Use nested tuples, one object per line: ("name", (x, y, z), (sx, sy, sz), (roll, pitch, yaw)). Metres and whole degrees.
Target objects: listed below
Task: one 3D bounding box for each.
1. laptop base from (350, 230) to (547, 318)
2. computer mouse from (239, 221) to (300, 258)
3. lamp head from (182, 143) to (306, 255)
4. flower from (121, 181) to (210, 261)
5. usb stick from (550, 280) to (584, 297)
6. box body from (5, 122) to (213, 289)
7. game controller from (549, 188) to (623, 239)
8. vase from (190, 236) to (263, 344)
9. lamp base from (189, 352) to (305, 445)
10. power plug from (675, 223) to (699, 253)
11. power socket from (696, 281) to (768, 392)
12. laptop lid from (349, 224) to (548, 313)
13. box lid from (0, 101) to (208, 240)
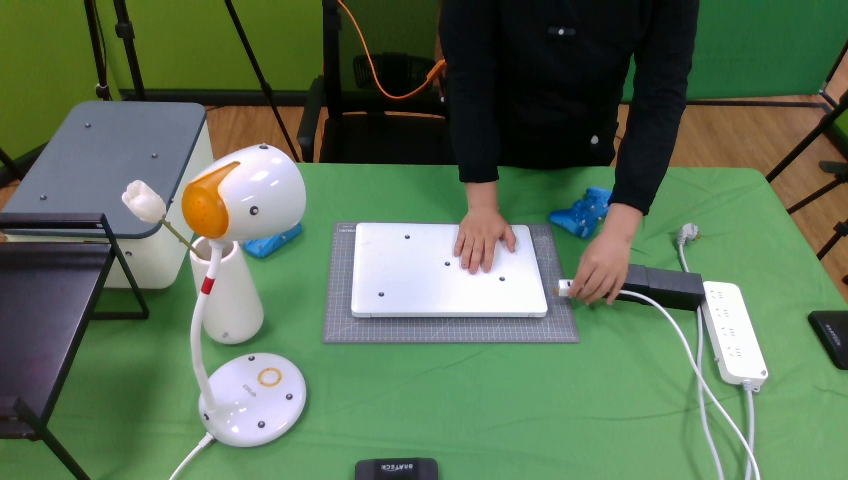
("laptop base", (0.041, 0.057, 1.149), (0.355, 0.023, 0.234), (0, 42, -4))
("computer mouse", (-0.300, -0.016, 1.178), (0.062, 0.041, 0.117), (35, 57, 22))
("lamp head", (-0.215, -0.044, 0.697), (0.112, 0.113, 0.123), (23, 31, 17))
("flower", (-0.328, 0.029, 0.905), (0.038, 0.364, 0.044), (-23, 58, -1))
("usb stick", (0.258, 0.088, 1.098), (0.059, 0.027, 0.021), (-4, 48, 7))
("box body", (-0.563, -0.087, 1.139), (0.254, 0.161, 0.361), (2, 46, -3))
("game controller", (0.346, -0.065, 1.272), (0.155, 0.052, 0.096), (-31, 58, -29))
("vase", (-0.317, 0.081, 0.971), (0.098, 0.201, 0.097), (3, 47, -3))
("lamp base", (-0.268, 0.197, 0.876), (0.160, 0.181, 0.179), (26, 52, 20))
("power plug", (0.537, 0.000, 1.243), (0.053, 0.035, 0.072), (20, 83, -17))
("power socket", (0.543, 0.161, 1.077), (0.072, 0.033, 0.225), (5, 46, 2))
("laptop lid", (0.042, 0.048, 1.143), (0.357, 0.013, 0.240), (2, 43, -3))
("box lid", (-0.559, -0.137, 1.085), (0.263, 0.015, 0.369), (2, 46, -2))
